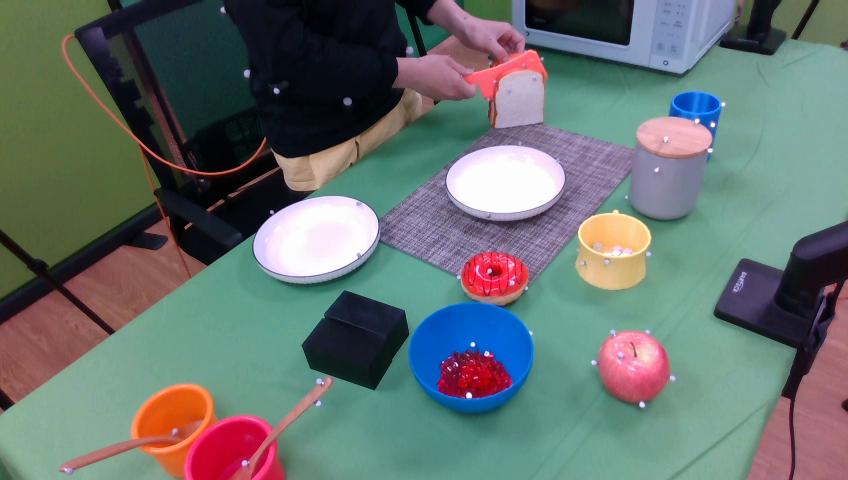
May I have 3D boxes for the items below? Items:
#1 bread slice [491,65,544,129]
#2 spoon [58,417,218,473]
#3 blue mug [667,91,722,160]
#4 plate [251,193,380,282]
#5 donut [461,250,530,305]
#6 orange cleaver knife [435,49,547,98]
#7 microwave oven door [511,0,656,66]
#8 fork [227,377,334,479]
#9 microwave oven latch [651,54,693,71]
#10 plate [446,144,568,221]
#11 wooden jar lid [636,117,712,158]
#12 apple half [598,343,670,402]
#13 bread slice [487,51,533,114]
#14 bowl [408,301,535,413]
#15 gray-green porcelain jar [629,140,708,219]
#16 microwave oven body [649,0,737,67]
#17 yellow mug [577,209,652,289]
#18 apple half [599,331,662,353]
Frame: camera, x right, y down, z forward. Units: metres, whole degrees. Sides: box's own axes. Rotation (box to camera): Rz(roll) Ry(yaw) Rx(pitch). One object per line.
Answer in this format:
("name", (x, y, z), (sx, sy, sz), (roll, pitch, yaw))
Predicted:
("bread slice", (0.184, -0.277, 1.183), (0.105, 0.132, 0.019), (-6, 41, -1))
("spoon", (-0.304, 0.221, 0.661), (0.041, 0.195, 0.021), (19, 92, 27))
("blue mug", (0.474, -0.207, 1.079), (0.082, 0.106, 0.116), (4, 42, 13))
("plate", (-0.174, -0.001, 0.984), (0.209, 0.038, 0.208), (-4, 40, 4))
("donut", (0.103, 0.053, 0.872), (0.099, 0.048, 0.098), (-5, 40, 4))
("orange cleaver knife", (0.130, -0.311, 1.167), (0.211, 0.077, 0.012), (-13, 43, 7))
("microwave oven door", (0.351, -0.540, 1.349), (0.353, 0.245, 0.039), (24, 50, 31))
("fork", (-0.163, 0.216, 0.647), (0.207, 0.019, 0.028), (-49, 41, 16))
("microwave oven latch", (0.532, -0.386, 1.301), (0.078, 0.029, 0.030), (26, 52, 34))
("plate", (0.142, -0.097, 1.045), (0.207, 0.039, 0.206), (-4, 40, 4))
("wooden jar lid", (0.377, -0.151, 0.917), (0.108, 0.021, 0.108), (-2, 41, 3))
("apple half", (0.247, 0.161, 0.710), (0.081, 0.075, 0.053), (2, 47, 5))
("bread slice", (0.184, -0.317, 1.230), (0.107, 0.135, 0.018), (-3, 44, 1))
("bowl", (0.060, 0.156, 0.739), (0.151, 0.077, 0.150), (-4, 40, 4))
("gray-green porcelain jar", (0.383, -0.105, 0.958), (0.106, 0.127, 0.105), (-4, 41, 4))
("microwave oven body", (0.475, -0.602, 1.411), (0.438, 0.261, 0.327), (23, 50, 32))
("yellow mug", (0.279, 0.004, 0.893), (0.099, 0.064, 0.130), (5, 41, 15))
("apple half", (0.249, 0.134, 0.738), (0.081, 0.081, 0.032), (-2, 46, 7))
